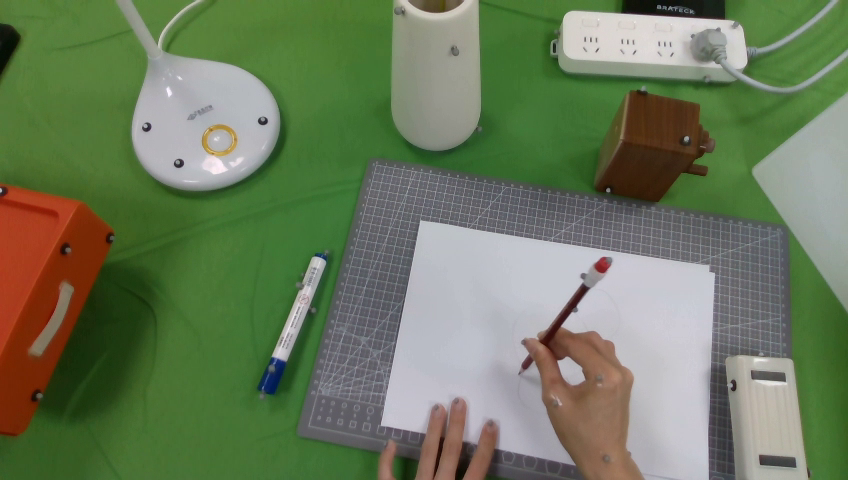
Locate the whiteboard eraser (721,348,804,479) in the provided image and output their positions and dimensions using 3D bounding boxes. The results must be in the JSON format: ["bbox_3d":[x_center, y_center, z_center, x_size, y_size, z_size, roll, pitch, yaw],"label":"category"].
[{"bbox_3d":[0.302,0.155,0.546,0.055,0.042,0.112,5,69,0],"label":"whiteboard eraser"}]

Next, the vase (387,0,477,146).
[{"bbox_3d":[0.007,-0.177,0.595,0.098,0.201,0.097,-1,68,2],"label":"vase"}]

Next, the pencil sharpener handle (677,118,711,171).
[{"bbox_3d":[0.271,-0.090,0.596,0.030,0.068,0.036,12,67,5],"label":"pencil sharpener handle"}]

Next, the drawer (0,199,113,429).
[{"bbox_3d":[-0.417,0.041,0.526,0.211,0.074,0.193,12,70,5],"label":"drawer"}]

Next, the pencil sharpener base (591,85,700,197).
[{"bbox_3d":[0.221,-0.096,0.612,0.076,0.108,0.061,12,68,5],"label":"pencil sharpener base"}]

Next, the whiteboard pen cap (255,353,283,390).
[{"bbox_3d":[-0.144,0.122,0.568,0.018,0.018,0.033,15,64,6],"label":"whiteboard pen cap"}]

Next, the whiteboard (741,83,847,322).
[{"bbox_3d":[0.493,-0.076,0.530,0.144,0.306,0.215,-14,67,-25],"label":"whiteboard"}]

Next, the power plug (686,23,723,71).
[{"bbox_3d":[0.306,-0.207,0.670,0.035,0.053,0.072,14,71,6],"label":"power plug"}]

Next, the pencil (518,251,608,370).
[{"bbox_3d":[0.107,0.067,0.501,0.012,0.195,0.012,6,53,-8],"label":"pencil"}]

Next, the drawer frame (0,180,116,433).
[{"bbox_3d":[-0.423,0.042,0.527,0.213,0.083,0.200,13,70,3],"label":"drawer frame"}]

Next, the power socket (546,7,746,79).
[{"bbox_3d":[0.258,-0.229,0.704,0.227,0.033,0.071,4,69,1],"label":"power socket"}]

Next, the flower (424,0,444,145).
[{"bbox_3d":[0.016,-0.223,0.525,0.038,0.364,0.043,-2,50,-8],"label":"flower"}]

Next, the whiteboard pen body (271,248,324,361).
[{"bbox_3d":[-0.127,0.071,0.592,0.017,0.017,0.140,14,66,6],"label":"whiteboard pen body"}]

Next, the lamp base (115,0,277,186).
[{"bbox_3d":[-0.253,-0.169,0.602,0.178,0.181,0.160,42,74,18],"label":"lamp base"}]
